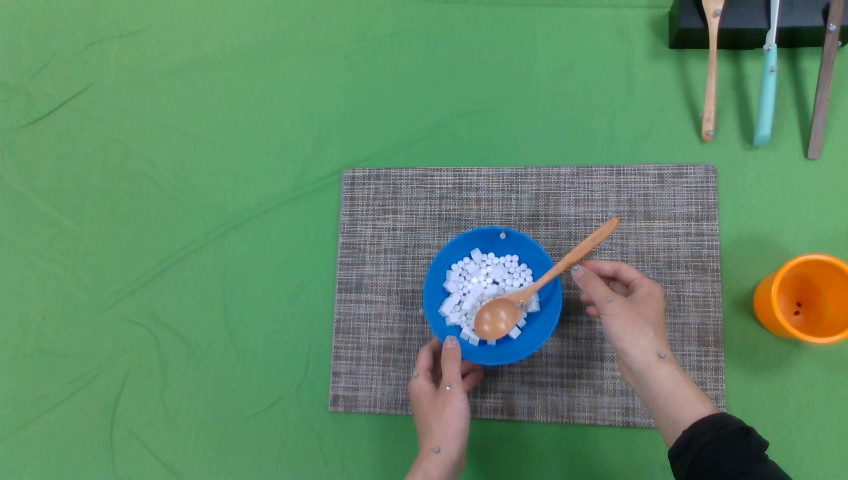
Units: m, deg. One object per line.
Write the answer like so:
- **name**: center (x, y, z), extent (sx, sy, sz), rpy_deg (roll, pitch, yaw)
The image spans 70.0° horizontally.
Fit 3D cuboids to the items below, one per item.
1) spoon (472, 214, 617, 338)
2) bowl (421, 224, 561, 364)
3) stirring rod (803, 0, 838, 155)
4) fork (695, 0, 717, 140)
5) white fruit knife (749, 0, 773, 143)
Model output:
- **spoon**: center (0.127, 0.039, 0.643), extent (0.194, 0.022, 0.041), rpy_deg (-42, 83, 19)
- **bowl**: center (0.075, 0.063, 0.682), extent (0.151, 0.077, 0.151), rpy_deg (-1, 80, 8)
- **stirring rod**: center (0.447, -0.185, 0.682), extent (0.014, 0.006, 0.176), rpy_deg (2, 101, 6)
- **fork**: center (0.323, -0.220, 0.695), extent (0.028, 0.018, 0.208), rpy_deg (-2, 100, 5)
- **white fruit knife**: center (0.385, -0.215, 0.685), extent (0.016, 0.027, 0.207), rpy_deg (1, 97, 6)
